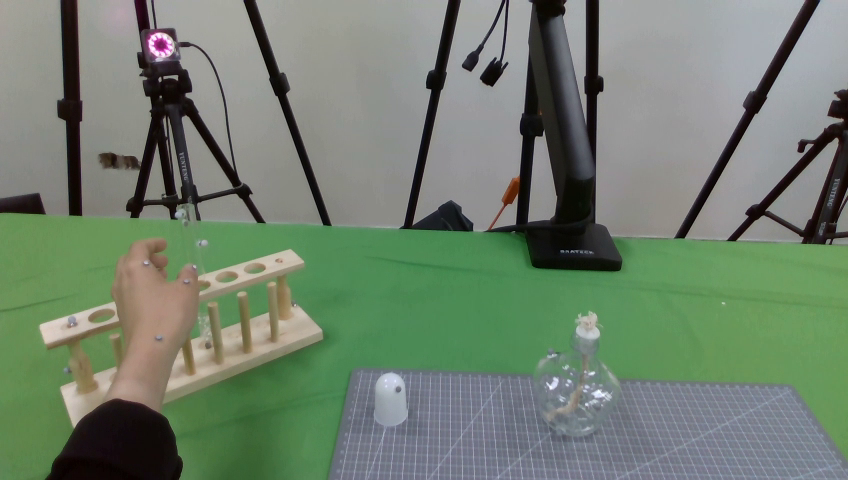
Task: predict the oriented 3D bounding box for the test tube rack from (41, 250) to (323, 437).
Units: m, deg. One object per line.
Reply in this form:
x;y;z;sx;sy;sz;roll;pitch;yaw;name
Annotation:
-0.226;0.093;0.602;0.243;0.086;0.066;-19;34;-33;test tube rack

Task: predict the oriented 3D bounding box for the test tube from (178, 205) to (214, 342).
-0.223;0.037;0.600;0.017;0.151;0.017;0;25;0;test tube

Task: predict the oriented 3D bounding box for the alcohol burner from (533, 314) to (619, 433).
0.139;0.114;0.545;0.078;0.120;0.077;2;31;-1;alcohol burner

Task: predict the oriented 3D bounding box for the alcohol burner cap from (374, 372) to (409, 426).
-0.030;0.144;0.558;0.034;0.048;0.033;2;30;-1;alcohol burner cap
